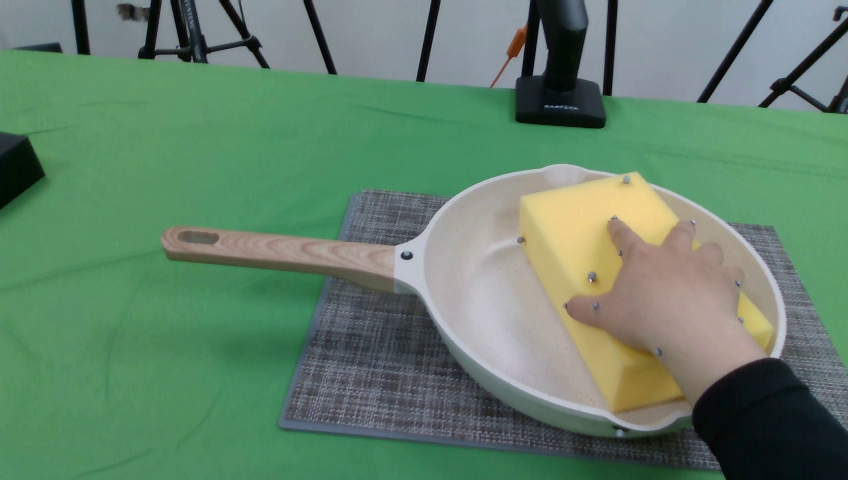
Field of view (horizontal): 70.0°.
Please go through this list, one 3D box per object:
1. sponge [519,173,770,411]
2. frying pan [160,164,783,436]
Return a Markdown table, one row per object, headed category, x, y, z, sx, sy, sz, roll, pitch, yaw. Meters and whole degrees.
| category | x | y | z | sx | sy | sz | roll | pitch | yaw |
| --- | --- | --- | --- | --- | --- | --- | --- | --- | --- |
| sponge | 0.172 | 0.033 | 0.519 | 0.118 | 0.061 | 0.204 | -13 | 42 | -7 |
| frying pan | 0.035 | 0.029 | 0.505 | 0.489 | 0.103 | 0.304 | 8 | 39 | -6 |
